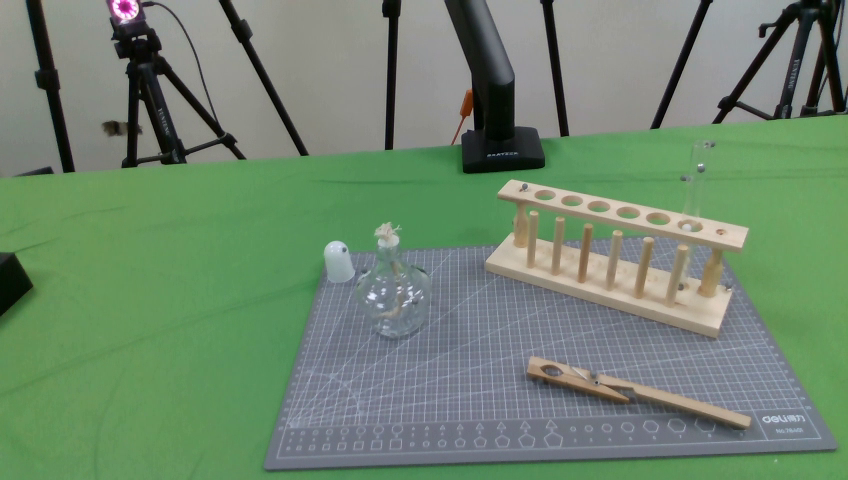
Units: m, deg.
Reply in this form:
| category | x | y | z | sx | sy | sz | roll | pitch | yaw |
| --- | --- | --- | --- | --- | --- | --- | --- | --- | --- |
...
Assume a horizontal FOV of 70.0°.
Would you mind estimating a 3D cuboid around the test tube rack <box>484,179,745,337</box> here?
| category | x | y | z | sx | sy | sz | roll | pitch | yaw |
| --- | --- | --- | --- | --- | --- | --- | --- | --- | --- |
| test tube rack | 0.182 | 0.011 | 0.619 | 0.240 | 0.086 | 0.066 | 16 | 40 | 29 |

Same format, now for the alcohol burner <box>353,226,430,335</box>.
| category | x | y | z | sx | sy | sz | roll | pitch | yaw |
| --- | --- | --- | --- | --- | --- | --- | --- | --- | --- |
| alcohol burner | -0.033 | 0.036 | 0.594 | 0.078 | 0.120 | 0.077 | -3 | 36 | 3 |

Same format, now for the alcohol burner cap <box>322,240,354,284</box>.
| category | x | y | z | sx | sy | sz | roll | pitch | yaw |
| --- | --- | --- | --- | --- | --- | --- | --- | --- | --- |
| alcohol burner cap | -0.099 | 0.022 | 0.688 | 0.034 | 0.048 | 0.033 | -3 | 35 | 3 |

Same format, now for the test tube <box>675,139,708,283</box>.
| category | x | y | z | sx | sy | sz | roll | pitch | yaw |
| --- | --- | --- | --- | --- | --- | --- | --- | --- | --- |
| test tube | 0.248 | -0.023 | 0.570 | 0.017 | 0.151 | 0.017 | -5 | 31 | 3 |

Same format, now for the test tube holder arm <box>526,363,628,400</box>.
| category | x | y | z | sx | sy | sz | roll | pitch | yaw |
| --- | --- | --- | --- | --- | --- | --- | --- | --- | --- |
| test tube holder arm | 0.133 | 0.123 | 0.526 | 0.087 | 0.015 | 0.010 | 10 | 71 | 21 |

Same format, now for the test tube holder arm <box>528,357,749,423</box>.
| category | x | y | z | sx | sy | sz | roll | pitch | yaw |
| --- | --- | --- | --- | --- | --- | --- | --- | --- | --- |
| test tube holder arm | 0.176 | 0.125 | 0.512 | 0.177 | 0.015 | 0.013 | 9 | 71 | 21 |
